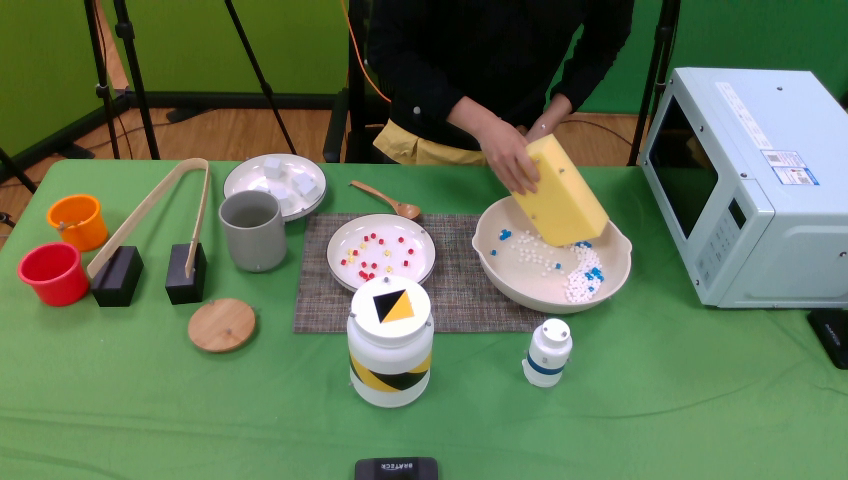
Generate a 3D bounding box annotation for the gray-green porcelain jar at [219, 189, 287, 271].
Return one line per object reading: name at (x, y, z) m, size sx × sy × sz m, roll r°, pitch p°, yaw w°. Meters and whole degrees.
gray-green porcelain jar at (-0.309, -0.014, 1.113) m, size 0.106 × 0.127 × 0.105 m, roll 2°, pitch 46°, yaw -2°

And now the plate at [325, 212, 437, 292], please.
plate at (-0.080, 0.030, 1.143) m, size 0.209 × 0.038 × 0.208 m, roll 3°, pitch 46°, yaw -2°

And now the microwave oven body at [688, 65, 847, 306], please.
microwave oven body at (0.669, -0.111, 1.176) m, size 0.326 × 0.261 × 0.439 m, roll 0°, pitch 46°, yaw -3°

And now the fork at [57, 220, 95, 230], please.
fork at (-0.624, -0.027, 1.087) m, size 0.028 × 0.207 × 0.018 m, roll -3°, pitch 92°, yaw -17°

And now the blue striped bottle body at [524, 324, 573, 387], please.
blue striped bottle body at (0.200, 0.178, 0.970) m, size 0.063 × 0.121 × 0.062 m, roll 2°, pitch 46°, yaw -2°

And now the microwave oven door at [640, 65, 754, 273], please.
microwave oven door at (0.523, -0.147, 1.193) m, size 0.039 × 0.245 × 0.353 m, roll 0°, pitch 47°, yaw -3°

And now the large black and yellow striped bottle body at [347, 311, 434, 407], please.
large black and yellow striped bottle body at (-0.052, 0.157, 0.929) m, size 0.131 × 0.185 × 0.130 m, roll 2°, pitch 47°, yaw -2°

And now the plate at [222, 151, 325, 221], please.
plate at (-0.310, -0.106, 1.262) m, size 0.208 × 0.039 × 0.206 m, roll 2°, pitch 47°, yaw -2°

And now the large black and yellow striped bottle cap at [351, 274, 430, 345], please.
large black and yellow striped bottle cap at (-0.048, 0.097, 0.867) m, size 0.115 × 0.019 × 0.114 m, roll 3°, pitch 48°, yaw -3°

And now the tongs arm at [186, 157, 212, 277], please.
tongs arm at (-0.445, -0.058, 1.168) m, size 0.051 × 0.026 × 0.382 m, roll -5°, pitch 37°, yaw -6°

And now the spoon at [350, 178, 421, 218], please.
spoon at (-0.084, -0.092, 1.272) m, size 0.193 × 0.022 × 0.041 m, roll 31°, pitch 69°, yaw 25°

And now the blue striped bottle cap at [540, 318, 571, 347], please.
blue striped bottle cap at (0.203, 0.142, 0.933) m, size 0.044 × 0.021 × 0.044 m, roll 3°, pitch 49°, yaw -3°

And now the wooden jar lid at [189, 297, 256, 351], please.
wooden jar lid at (-0.342, 0.145, 1.033) m, size 0.108 × 0.021 × 0.107 m, roll 2°, pitch 45°, yaw -2°

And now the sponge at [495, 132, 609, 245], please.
sponge at (0.247, -0.093, 1.162) m, size 0.207 × 0.118 × 0.061 m, roll 51°, pitch 51°, yaw -18°

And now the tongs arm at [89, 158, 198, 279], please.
tongs arm at (-0.529, -0.057, 1.164) m, size 0.028 × 0.028 × 0.385 m, roll 1°, pitch 36°, yaw 8°

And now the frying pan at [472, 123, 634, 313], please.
frying pan at (0.235, -0.060, 1.207) m, size 0.307 × 0.103 × 0.484 m, roll 1°, pitch 54°, yaw -6°

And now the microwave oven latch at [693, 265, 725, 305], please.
microwave oven latch at (0.523, 0.082, 1.116) m, size 0.030 × 0.029 × 0.078 m, roll 2°, pitch 46°, yaw -1°
